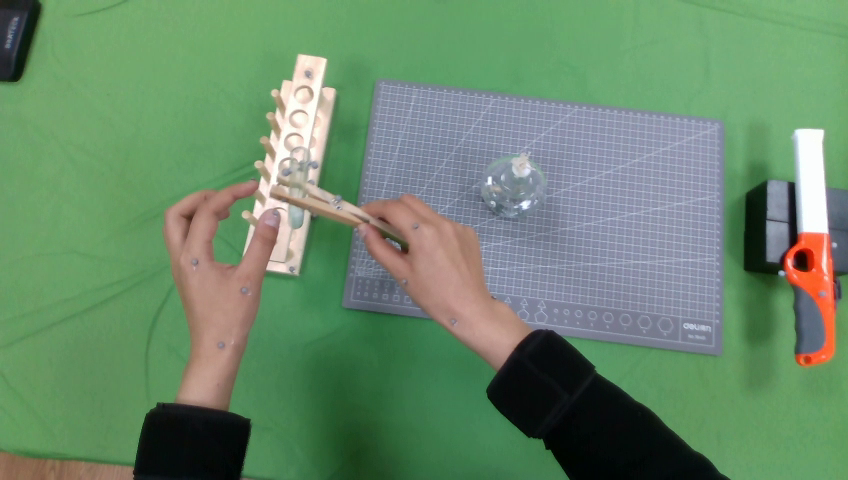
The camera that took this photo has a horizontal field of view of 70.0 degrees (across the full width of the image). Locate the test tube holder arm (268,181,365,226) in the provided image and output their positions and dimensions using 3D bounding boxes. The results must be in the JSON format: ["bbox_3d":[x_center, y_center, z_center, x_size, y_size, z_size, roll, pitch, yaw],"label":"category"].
[{"bbox_3d":[-0.094,-0.032,0.532,0.088,0.015,0.010,18,71,-8],"label":"test tube holder arm"}]

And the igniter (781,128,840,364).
[{"bbox_3d":[0.437,0.002,0.687,0.057,0.025,0.275,4,76,11],"label":"igniter"}]

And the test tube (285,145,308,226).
[{"bbox_3d":[-0.113,-0.043,0.533,0.017,0.150,0.017,4,70,-12],"label":"test tube"}]

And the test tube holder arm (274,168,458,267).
[{"bbox_3d":[-0.050,-0.019,0.539,0.179,0.015,0.013,25,71,-6],"label":"test tube holder arm"}]

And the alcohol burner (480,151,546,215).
[{"bbox_3d":[0.104,-0.070,0.694,0.078,0.119,0.077,0,78,0],"label":"alcohol burner"}]

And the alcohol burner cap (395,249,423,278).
[{"bbox_3d":[-0.017,0.025,0.705,0.034,0.048,0.033,1,77,-3],"label":"alcohol burner cap"}]

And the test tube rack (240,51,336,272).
[{"bbox_3d":[-0.164,-0.092,0.708,0.067,0.085,0.241,9,77,1],"label":"test tube rack"}]
